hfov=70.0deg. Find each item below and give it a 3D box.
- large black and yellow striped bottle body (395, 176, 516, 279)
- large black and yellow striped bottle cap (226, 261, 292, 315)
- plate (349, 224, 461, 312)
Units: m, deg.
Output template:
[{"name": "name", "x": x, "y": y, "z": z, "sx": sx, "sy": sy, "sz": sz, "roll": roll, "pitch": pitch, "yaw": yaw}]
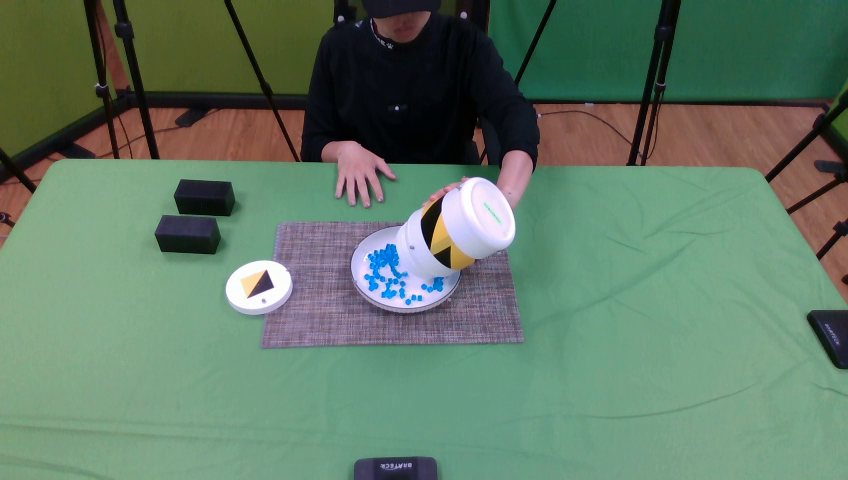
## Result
[{"name": "large black and yellow striped bottle body", "x": 0.050, "y": -0.014, "z": 1.044, "sx": 0.131, "sy": 0.184, "sz": 0.130, "roll": 28, "pitch": 48, "yaw": -36}, {"name": "large black and yellow striped bottle cap", "x": -0.298, "y": 0.085, "z": 1.092, "sx": 0.115, "sy": 0.019, "sz": 0.114, "roll": 0, "pitch": 45, "yaw": 1}, {"name": "plate", "x": -0.035, "y": 0.054, "z": 1.126, "sx": 0.208, "sy": 0.039, "sz": 0.206, "roll": 2, "pitch": 46, "yaw": -2}]
